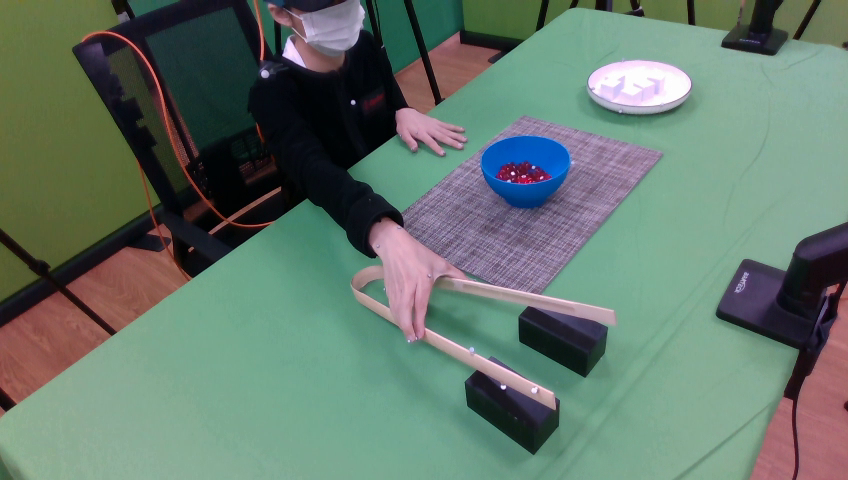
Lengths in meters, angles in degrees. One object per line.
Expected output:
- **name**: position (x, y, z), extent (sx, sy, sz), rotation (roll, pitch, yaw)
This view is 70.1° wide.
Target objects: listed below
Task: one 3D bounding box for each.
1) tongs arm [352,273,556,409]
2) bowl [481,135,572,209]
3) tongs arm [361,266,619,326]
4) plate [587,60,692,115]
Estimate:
- **tongs arm**: position (0.022, 0.115, 0.778), extent (0.381, 0.027, 0.051), rotation (18, 48, 43)
- **bowl**: position (0.172, -0.106, 1.025), extent (0.151, 0.077, 0.150), rotation (-4, 40, 4)
- **tongs arm**: position (0.071, 0.073, 0.821), extent (0.384, 0.028, 0.028), rotation (8, 45, 34)
- **plate**: position (0.445, -0.313, 1.263), extent (0.209, 0.038, 0.208), rotation (-5, 40, 4)
